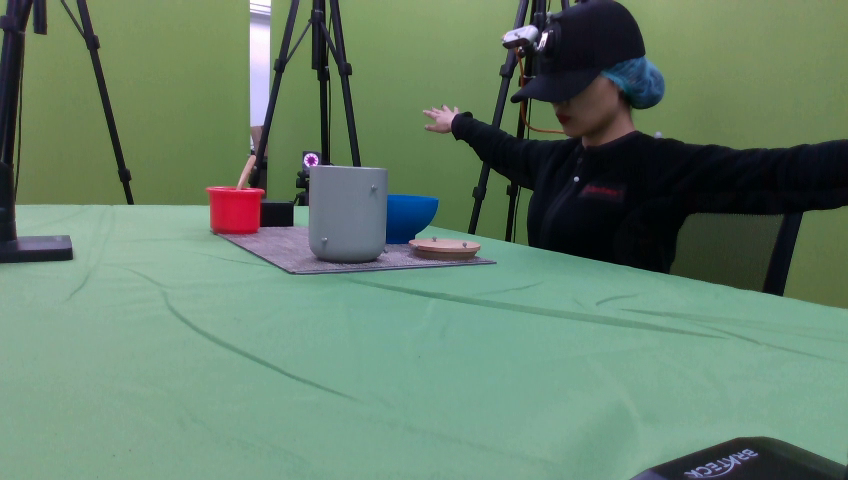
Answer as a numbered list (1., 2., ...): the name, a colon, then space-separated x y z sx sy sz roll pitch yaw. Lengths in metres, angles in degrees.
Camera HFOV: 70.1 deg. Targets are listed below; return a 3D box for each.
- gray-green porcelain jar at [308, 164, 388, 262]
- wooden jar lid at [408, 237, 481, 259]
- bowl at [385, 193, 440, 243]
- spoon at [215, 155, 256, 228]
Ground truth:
1. gray-green porcelain jar: -0.103 -0.038 0.818 0.106 0.126 0.106 2 7 0
2. wooden jar lid: 0.031 0.012 0.895 0.108 0.020 0.108 2 8 0
3. bowl: -0.050 -0.038 1.033 0.151 0.077 0.151 3 7 0
4. spoon: -0.332 -0.091 1.092 0.041 0.021 0.193 3 52 5
